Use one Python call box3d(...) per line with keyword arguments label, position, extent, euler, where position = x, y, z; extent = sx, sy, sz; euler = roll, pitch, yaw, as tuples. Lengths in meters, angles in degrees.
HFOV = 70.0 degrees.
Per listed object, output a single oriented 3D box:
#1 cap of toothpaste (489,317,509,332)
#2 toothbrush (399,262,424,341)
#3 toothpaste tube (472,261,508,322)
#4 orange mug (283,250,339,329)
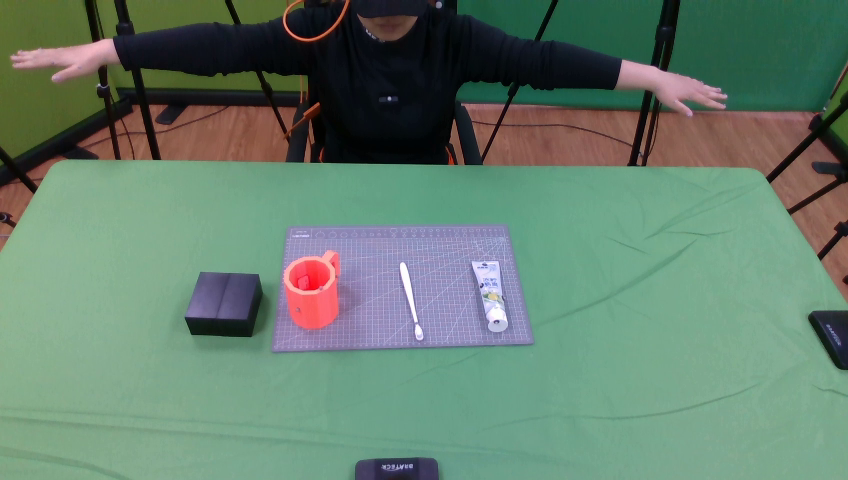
box3d(label="cap of toothpaste", position=(0.130, 0.145, 1.050), extent=(0.037, 0.037, 0.011), euler=(-1, 42, -4))
box3d(label="toothbrush", position=(-0.025, 0.106, 1.093), extent=(0.014, 0.017, 0.180), euler=(-17, 46, 1))
box3d(label="toothpaste tube", position=(0.126, 0.094, 1.109), extent=(0.055, 0.034, 0.164), euler=(4, 41, -9))
box3d(label="orange mug", position=(-0.186, 0.078, 1.052), extent=(0.083, 0.101, 0.126), euler=(20, 52, 15))
